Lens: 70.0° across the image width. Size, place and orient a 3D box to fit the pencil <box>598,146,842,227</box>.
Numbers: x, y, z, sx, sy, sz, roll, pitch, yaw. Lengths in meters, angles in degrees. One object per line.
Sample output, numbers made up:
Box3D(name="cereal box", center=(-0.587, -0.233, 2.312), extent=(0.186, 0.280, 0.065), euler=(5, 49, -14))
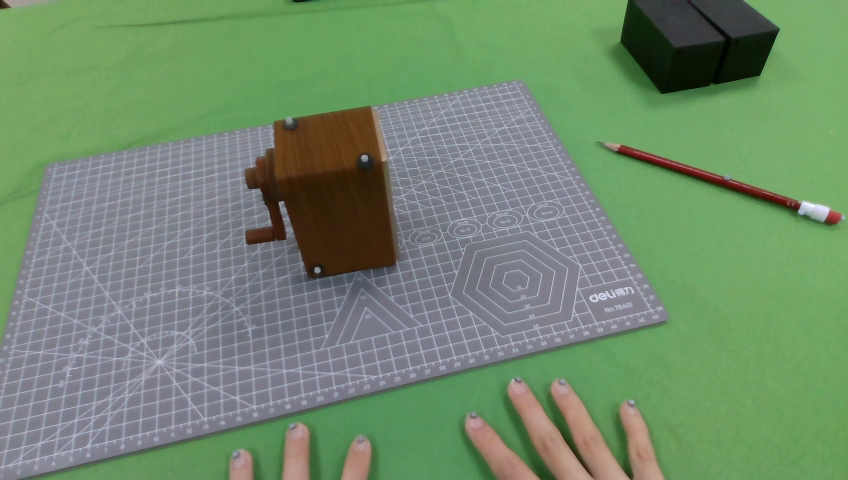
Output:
Box3D(name="pencil", center=(0.236, -0.048, 0.500), extent=(0.192, 0.012, 0.012), euler=(23, 54, 23))

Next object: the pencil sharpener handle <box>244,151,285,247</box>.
Box3D(name="pencil sharpener handle", center=(-0.113, -0.025, 0.410), extent=(0.031, 0.068, 0.035), euler=(-10, 32, -5))

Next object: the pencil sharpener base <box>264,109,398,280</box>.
Box3D(name="pencil sharpener base", center=(-0.063, -0.029, 0.427), extent=(0.077, 0.108, 0.060), euler=(-10, 49, -5))
